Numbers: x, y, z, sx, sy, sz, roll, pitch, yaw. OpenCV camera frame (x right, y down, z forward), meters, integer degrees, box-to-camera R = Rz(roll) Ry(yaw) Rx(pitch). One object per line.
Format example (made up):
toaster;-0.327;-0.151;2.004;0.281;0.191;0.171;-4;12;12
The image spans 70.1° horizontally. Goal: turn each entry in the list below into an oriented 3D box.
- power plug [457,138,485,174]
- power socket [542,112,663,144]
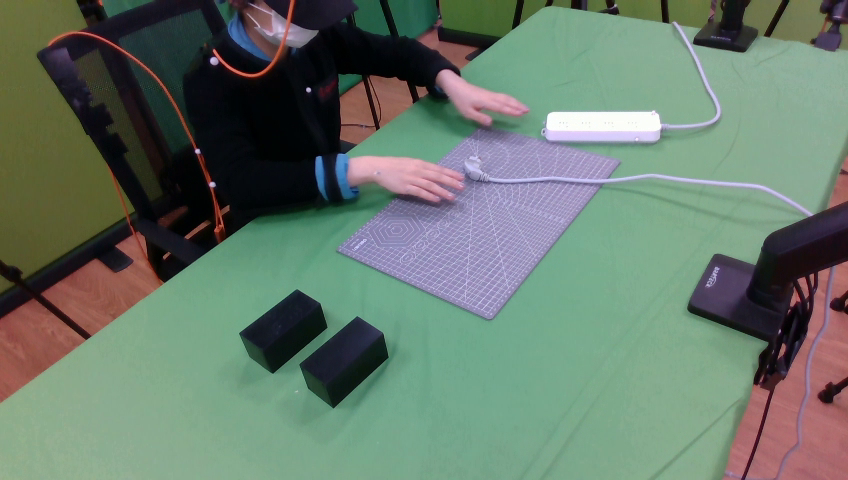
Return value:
power plug;0.081;-0.153;1.088;0.052;0.072;0.035;-15;13;44
power socket;0.342;-0.216;1.164;0.226;0.033;0.072;3;43;12
